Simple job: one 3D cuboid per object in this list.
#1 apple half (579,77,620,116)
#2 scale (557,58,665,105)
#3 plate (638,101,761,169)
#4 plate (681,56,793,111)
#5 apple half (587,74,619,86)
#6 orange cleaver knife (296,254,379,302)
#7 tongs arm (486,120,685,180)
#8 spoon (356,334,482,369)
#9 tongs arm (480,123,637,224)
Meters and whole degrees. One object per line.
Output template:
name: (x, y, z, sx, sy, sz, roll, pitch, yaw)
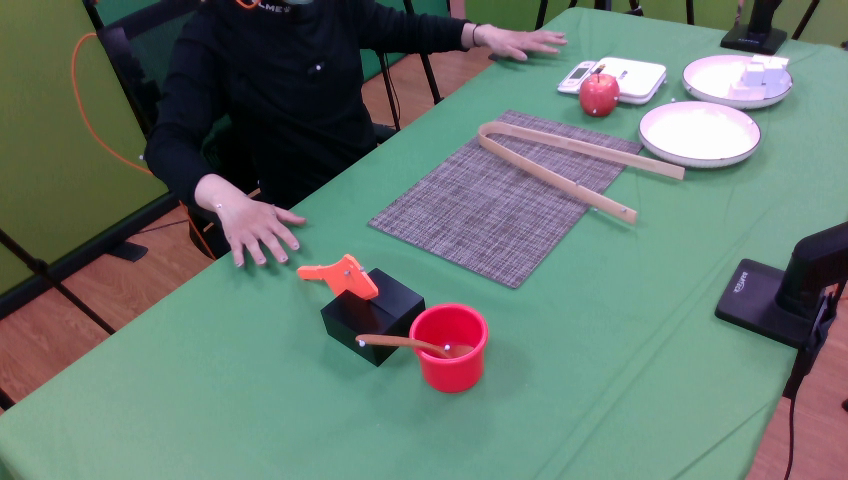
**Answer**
apple half: (0.348, -0.285, 1.218, 0.080, 0.075, 0.053, 17, 49, 22)
scale: (0.407, -0.348, 1.314, 0.199, 0.032, 0.149, 19, 47, 28)
plate: (0.500, -0.189, 1.111, 0.209, 0.038, 0.208, -4, 41, 4)
plate: (0.636, -0.317, 1.239, 0.207, 0.039, 0.206, -4, 40, 4)
apple half: (0.366, -0.310, 1.243, 0.081, 0.081, 0.033, 15, 49, 24)
orange cleaver knife: (-0.129, 0.058, 0.874, 0.012, 0.077, 0.210, -39, 16, -30)
tongs arm: (0.287, -0.171, 1.123, 0.384, 0.028, 0.028, 21, 52, 29)
spoon: (-0.001, 0.130, 0.731, 0.195, 0.021, 0.041, 21, 28, -39)
tongs arm: (0.228, -0.128, 1.080, 0.051, 0.026, 0.381, -33, 46, -26)
